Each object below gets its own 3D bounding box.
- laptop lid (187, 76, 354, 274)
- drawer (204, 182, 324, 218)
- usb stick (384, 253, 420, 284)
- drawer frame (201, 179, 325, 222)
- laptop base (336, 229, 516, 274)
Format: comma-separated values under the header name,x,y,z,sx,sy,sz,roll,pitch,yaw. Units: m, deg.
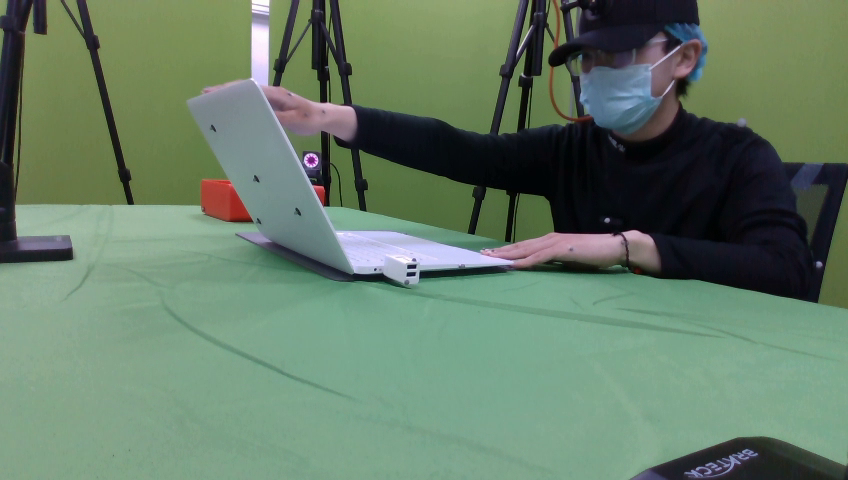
name,x,y,z,sx,sy,sz,roll,pitch,yaw
laptop lid,-0.211,-0.082,0.772,0.013,0.242,0.355,-34,25,-23
drawer,-0.360,-0.091,1.358,0.213,0.073,0.193,-4,10,-36
usb stick,-0.029,0.030,0.675,0.021,0.027,0.059,-2,9,-34
drawer frame,-0.361,-0.092,1.356,0.215,0.082,0.200,-4,10,-37
laptop base,-0.066,0.014,0.877,0.237,0.023,0.352,2,7,-32
